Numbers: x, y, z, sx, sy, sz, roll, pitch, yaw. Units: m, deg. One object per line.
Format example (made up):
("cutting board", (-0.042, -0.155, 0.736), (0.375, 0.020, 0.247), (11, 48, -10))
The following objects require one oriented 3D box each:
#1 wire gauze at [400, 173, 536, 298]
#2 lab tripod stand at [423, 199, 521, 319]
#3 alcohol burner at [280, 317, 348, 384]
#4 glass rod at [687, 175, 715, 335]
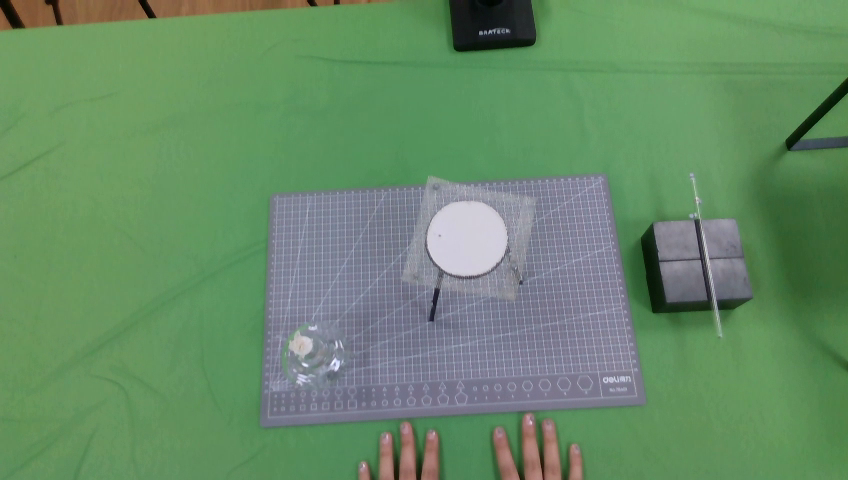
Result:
("wire gauze", (0.048, -0.006, 0.638), (0.121, 0.011, 0.124), (13, 71, 6))
("lab tripod stand", (0.044, 0.016, 0.702), (0.148, 0.132, 0.147), (-1, 70, 3))
("alcohol burner", (-0.127, 0.121, 0.678), (0.078, 0.120, 0.077), (0, 72, 1))
("glass rod", (0.327, 0.014, 0.715), (0.008, 0.008, 0.198), (0, 71, 2))
